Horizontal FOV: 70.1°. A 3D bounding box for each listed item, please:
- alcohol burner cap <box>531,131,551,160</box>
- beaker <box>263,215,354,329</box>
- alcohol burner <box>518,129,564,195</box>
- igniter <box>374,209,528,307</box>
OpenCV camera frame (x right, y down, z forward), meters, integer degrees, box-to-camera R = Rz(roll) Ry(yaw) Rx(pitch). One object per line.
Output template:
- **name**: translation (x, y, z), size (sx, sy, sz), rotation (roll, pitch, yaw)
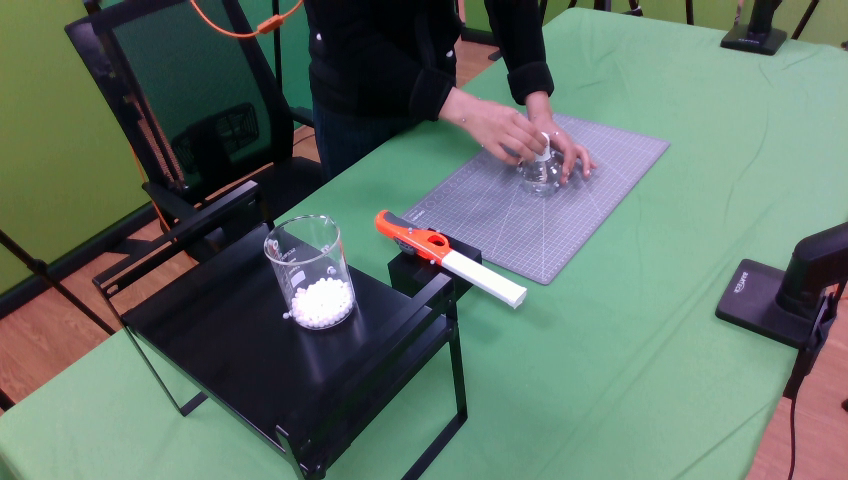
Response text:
- **alcohol burner cap**: translation (0.196, -0.161, 1.010), size (0.034, 0.048, 0.033), rotation (-4, 42, 4)
- **beaker**: translation (-0.112, 0.034, 0.616), size (0.073, 0.101, 0.084), rotation (13, 44, 23)
- **alcohol burner**: translation (0.199, -0.136, 1.028), size (0.078, 0.119, 0.077), rotation (-5, 42, 5)
- **igniter**: translation (0.027, 0.019, 0.873), size (0.274, 0.025, 0.057), rotation (29, 52, 31)
